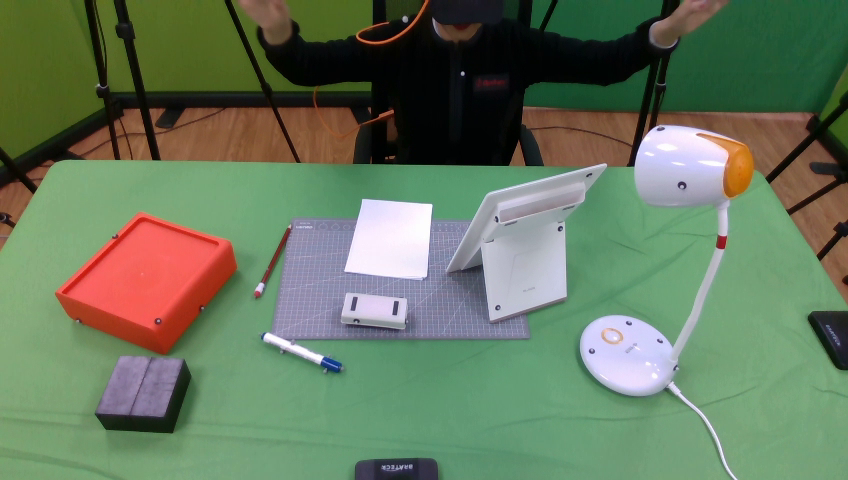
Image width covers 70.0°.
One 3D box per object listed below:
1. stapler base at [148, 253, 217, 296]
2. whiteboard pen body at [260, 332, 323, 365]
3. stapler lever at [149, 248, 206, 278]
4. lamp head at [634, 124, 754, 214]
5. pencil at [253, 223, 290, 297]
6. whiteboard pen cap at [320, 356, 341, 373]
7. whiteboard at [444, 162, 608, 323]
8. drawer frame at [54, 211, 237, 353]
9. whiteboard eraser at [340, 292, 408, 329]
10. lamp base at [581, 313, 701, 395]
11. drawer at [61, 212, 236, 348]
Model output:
[{"bbox_3d":[-0.443,0.059,1.109,0.130,0.024,0.041,24,50,11],"label":"stapler base"},{"bbox_3d":[-0.208,0.184,1.003,0.140,0.017,0.017,20,48,12],"label":"whiteboard pen body"},{"bbox_3d":[-0.442,0.037,1.084,0.118,0.040,0.027,19,49,17],"label":"stapler lever"},{"bbox_3d":[0.351,-0.089,0.775,0.112,0.113,0.122,-30,30,-28],"label":"lamp head"},{"bbox_3d":[-0.286,0.033,1.150,0.012,0.012,0.193,9,46,4],"label":"pencil"},{"bbox_3d":[-0.154,0.203,0.992,0.033,0.018,0.018,21,48,12],"label":"whiteboard pen cap"},{"bbox_3d":[0.186,0.026,1.028,0.217,0.306,0.143,-14,68,-18],"label":"whiteboard"},{"bbox_3d":[-0.473,0.067,1.055,0.201,0.083,0.212,17,48,11],"label":"drawer frame"},{"bbox_3d":[-0.087,0.125,1.052,0.113,0.042,0.055,5,45,1],"label":"whiteboard eraser"},{"bbox_3d":[0.361,0.144,0.973,0.178,0.181,0.160,34,53,23],"label":"lamp base"},{"bbox_3d":[-0.473,0.064,1.060,0.194,0.073,0.211,18,48,11],"label":"drawer"}]
